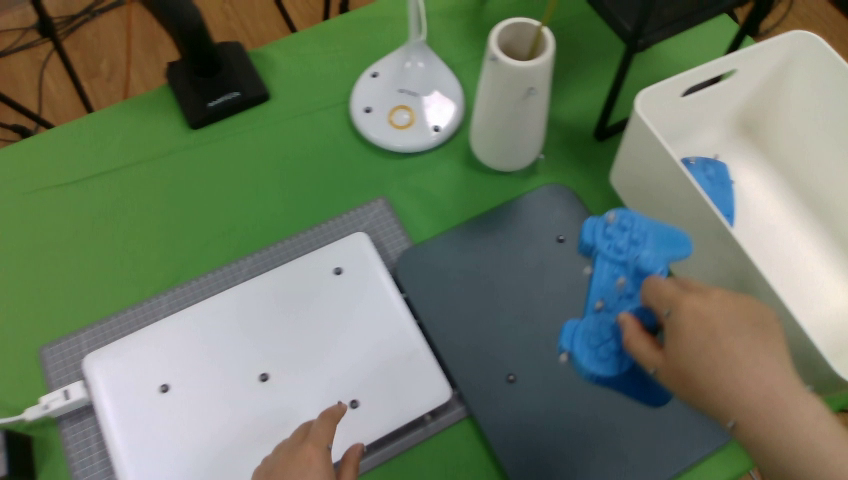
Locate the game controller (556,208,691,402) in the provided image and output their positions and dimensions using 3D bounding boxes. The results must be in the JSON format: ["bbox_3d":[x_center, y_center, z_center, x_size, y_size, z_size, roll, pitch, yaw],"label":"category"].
[{"bbox_3d":[0.165,0.044,0.493,0.097,0.052,0.154,14,67,10],"label":"game controller"}]

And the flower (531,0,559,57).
[{"bbox_3d":[0.126,-0.217,0.667,0.038,0.364,0.043,-10,55,-23],"label":"flower"}]

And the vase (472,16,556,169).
[{"bbox_3d":[0.109,-0.173,0.737,0.098,0.201,0.097,-1,63,2],"label":"vase"}]

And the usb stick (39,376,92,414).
[{"bbox_3d":[-0.383,0.166,0.661,0.059,0.027,0.021,-21,66,-16],"label":"usb stick"}]

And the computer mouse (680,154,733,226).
[{"bbox_3d":[0.355,-0.062,0.767,0.062,0.041,0.116,9,61,7],"label":"computer mouse"}]

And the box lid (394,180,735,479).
[{"bbox_3d":[0.152,0.110,0.706,0.263,0.015,0.368,-25,67,-12],"label":"box lid"}]

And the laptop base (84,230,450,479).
[{"bbox_3d":[-0.177,0.152,0.683,0.354,0.023,0.233,-25,71,-12],"label":"laptop base"}]

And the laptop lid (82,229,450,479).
[{"bbox_3d":[-0.176,0.149,0.672,0.357,0.013,0.239,-24,69,-11],"label":"laptop lid"}]

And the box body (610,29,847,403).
[{"bbox_3d":[0.414,-0.027,0.688,0.254,0.161,0.361,-23,67,-10],"label":"box body"}]

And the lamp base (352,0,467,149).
[{"bbox_3d":[-0.020,-0.240,0.779,0.160,0.181,0.178,6,62,3],"label":"lamp base"}]
